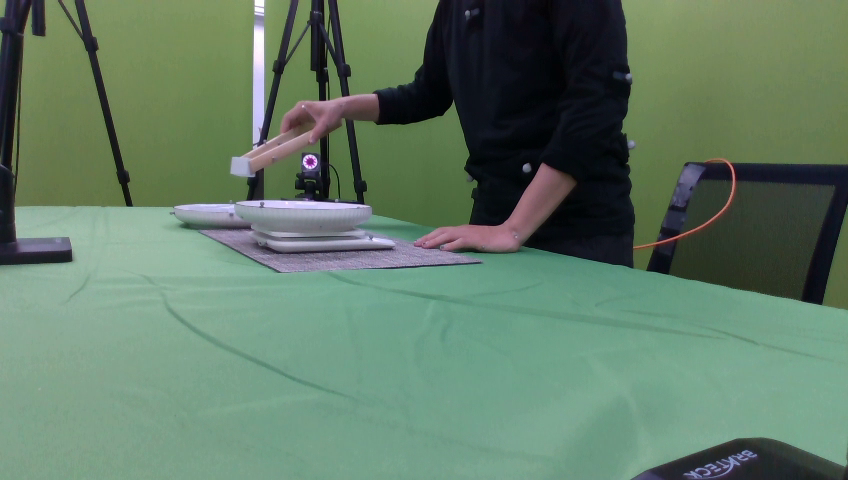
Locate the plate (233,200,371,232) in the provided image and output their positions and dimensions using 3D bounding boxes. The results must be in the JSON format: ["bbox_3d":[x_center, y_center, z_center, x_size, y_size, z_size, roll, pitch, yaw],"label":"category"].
[{"bbox_3d":[-0.188,-0.039,0.939,0.209,0.038,0.209,2,7,0],"label":"plate"}]

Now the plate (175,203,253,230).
[{"bbox_3d":[-0.381,-0.047,1.199,0.208,0.039,0.207,2,7,0],"label":"plate"}]

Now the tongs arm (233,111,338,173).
[{"bbox_3d":[-0.274,-0.213,1.264,0.050,0.026,0.385,1,25,16],"label":"tongs arm"}]

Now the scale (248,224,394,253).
[{"bbox_3d":[-0.162,-0.006,0.954,0.202,0.031,0.148,-2,8,-32],"label":"scale"}]

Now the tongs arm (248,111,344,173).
[{"bbox_3d":[-0.252,-0.212,1.256,0.028,0.028,0.388,-1,24,21],"label":"tongs arm"}]
